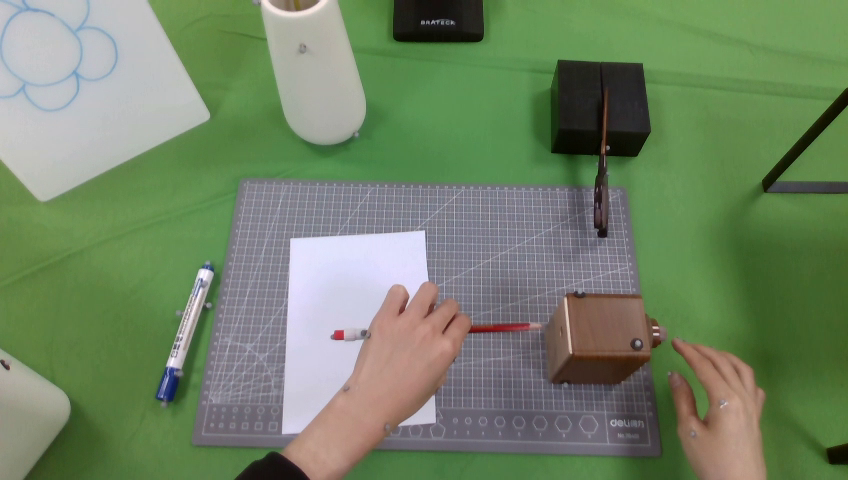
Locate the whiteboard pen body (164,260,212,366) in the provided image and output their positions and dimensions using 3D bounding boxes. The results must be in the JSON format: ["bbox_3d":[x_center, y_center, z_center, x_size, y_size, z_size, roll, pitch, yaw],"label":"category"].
[{"bbox_3d":[-0.246,0.084,0.625,0.017,0.017,0.139,7,63,4],"label":"whiteboard pen body"}]

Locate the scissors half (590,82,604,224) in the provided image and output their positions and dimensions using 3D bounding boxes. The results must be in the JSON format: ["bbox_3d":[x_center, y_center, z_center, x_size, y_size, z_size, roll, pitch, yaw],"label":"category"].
[{"bbox_3d":[0.191,-0.100,0.660,0.013,0.040,0.174,1,66,21],"label":"scissors half"}]

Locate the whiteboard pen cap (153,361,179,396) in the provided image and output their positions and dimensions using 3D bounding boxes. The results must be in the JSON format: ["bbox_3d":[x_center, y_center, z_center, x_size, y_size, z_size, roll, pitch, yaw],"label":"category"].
[{"bbox_3d":[-0.253,0.136,0.598,0.018,0.018,0.033,7,60,4],"label":"whiteboard pen cap"}]

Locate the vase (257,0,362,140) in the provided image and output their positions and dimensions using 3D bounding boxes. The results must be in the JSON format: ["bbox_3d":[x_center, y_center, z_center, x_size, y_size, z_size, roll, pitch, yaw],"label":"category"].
[{"bbox_3d":[-0.124,-0.198,0.658,0.098,0.201,0.097,0,64,1],"label":"vase"}]

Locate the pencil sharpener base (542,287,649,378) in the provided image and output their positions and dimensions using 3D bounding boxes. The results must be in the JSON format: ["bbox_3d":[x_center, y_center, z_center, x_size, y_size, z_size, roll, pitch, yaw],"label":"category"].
[{"bbox_3d":[0.159,0.090,0.573,0.077,0.108,0.061,0,64,0],"label":"pencil sharpener base"}]

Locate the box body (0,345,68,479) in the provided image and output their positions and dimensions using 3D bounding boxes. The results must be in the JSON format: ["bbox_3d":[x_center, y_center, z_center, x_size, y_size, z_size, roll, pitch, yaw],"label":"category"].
[{"bbox_3d":[-0.543,0.144,0.517,0.363,0.161,0.253,26,68,11],"label":"box body"}]

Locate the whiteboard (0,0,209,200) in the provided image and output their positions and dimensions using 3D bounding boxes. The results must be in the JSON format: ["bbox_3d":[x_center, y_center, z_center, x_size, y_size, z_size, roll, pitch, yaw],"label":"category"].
[{"bbox_3d":[-0.416,-0.239,0.650,0.217,0.309,0.142,-31,49,-13],"label":"whiteboard"}]

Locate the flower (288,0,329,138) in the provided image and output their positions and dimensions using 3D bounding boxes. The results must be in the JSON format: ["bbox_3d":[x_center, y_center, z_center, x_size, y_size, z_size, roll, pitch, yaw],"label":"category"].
[{"bbox_3d":[-0.131,-0.246,0.588,0.044,0.365,0.038,-5,47,1],"label":"flower"}]

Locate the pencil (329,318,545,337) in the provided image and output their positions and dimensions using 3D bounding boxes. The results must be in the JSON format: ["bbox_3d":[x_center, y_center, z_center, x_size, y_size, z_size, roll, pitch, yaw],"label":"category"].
[{"bbox_3d":[0.013,0.076,0.540,0.194,0.012,0.012,-2,65,-5],"label":"pencil"}]

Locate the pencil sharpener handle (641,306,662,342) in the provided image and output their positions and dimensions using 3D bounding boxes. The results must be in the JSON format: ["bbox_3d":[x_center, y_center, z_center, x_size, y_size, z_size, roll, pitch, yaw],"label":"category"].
[{"bbox_3d":[0.211,0.082,0.563,0.030,0.068,0.036,0,74,0],"label":"pencil sharpener handle"}]

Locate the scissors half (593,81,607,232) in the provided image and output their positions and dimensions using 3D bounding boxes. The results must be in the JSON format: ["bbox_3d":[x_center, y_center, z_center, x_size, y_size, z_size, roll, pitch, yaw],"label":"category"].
[{"bbox_3d":[0.199,-0.095,0.678,0.012,0.040,0.175,0,84,26],"label":"scissors half"}]
